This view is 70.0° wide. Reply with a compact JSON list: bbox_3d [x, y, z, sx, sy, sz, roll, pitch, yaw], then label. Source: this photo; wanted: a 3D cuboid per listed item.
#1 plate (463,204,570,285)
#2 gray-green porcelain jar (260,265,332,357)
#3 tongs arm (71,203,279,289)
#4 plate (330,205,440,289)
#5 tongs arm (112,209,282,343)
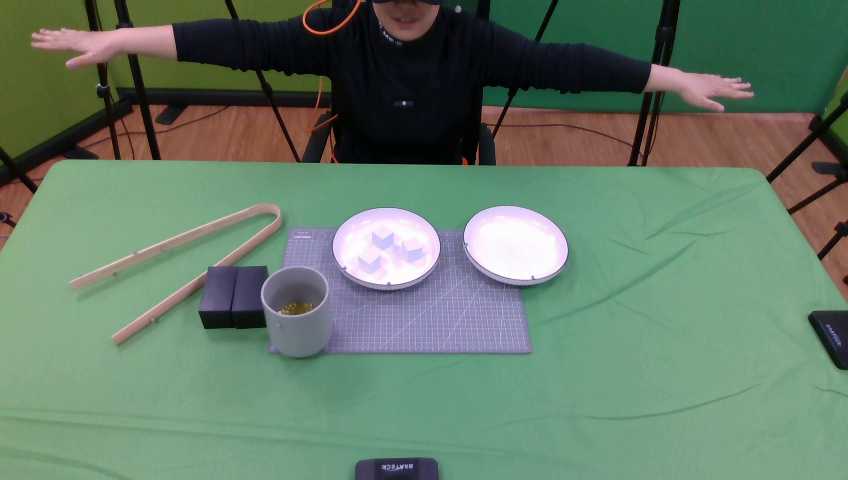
[{"bbox_3d":[0.178,0.011,1.184,0.209,0.038,0.208,3,46,-3],"label":"plate"},{"bbox_3d":[-0.205,0.121,0.989,0.106,0.127,0.105,2,46,-2],"label":"gray-green porcelain jar"},{"bbox_3d":[-0.454,0.011,1.144,0.385,0.026,0.050,-29,55,-29],"label":"tongs arm"},{"bbox_3d":[-0.074,0.017,1.160,0.208,0.039,0.206,2,46,-2],"label":"plate"},{"bbox_3d":[-0.397,0.057,1.109,0.028,0.028,0.387,28,50,25],"label":"tongs arm"}]
